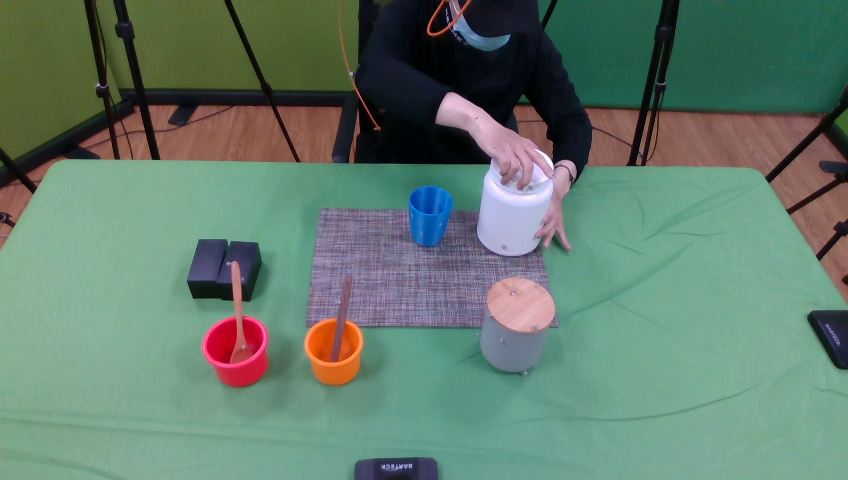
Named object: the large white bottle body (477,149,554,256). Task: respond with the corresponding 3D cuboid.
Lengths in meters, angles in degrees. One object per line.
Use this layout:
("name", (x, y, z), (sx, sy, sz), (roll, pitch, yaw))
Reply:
("large white bottle body", (0.175, -0.075, 1.161), (0.131, 0.185, 0.130), (2, 45, -2))

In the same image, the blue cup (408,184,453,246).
("blue cup", (0.008, -0.043, 1.177), (0.093, 0.101, 0.092), (3, 47, -3))

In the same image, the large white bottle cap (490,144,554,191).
("large white bottle cap", (0.179, -0.133, 1.101), (0.115, 0.018, 0.114), (2, 46, -2))

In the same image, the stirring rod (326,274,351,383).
("stirring rod", (-0.137, 0.142, 0.972), (0.014, 0.006, 0.176), (9, 89, 0))

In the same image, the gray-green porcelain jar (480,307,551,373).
("gray-green porcelain jar", (0.148, 0.148, 0.992), (0.106, 0.127, 0.105), (2, 46, -2))

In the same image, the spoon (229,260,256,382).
("spoon", (-0.294, 0.129, 0.966), (0.042, 0.021, 0.193), (-4, 91, -8))

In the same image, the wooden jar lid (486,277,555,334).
("wooden jar lid", (0.150, 0.105, 0.948), (0.108, 0.021, 0.107), (3, 47, -3))
